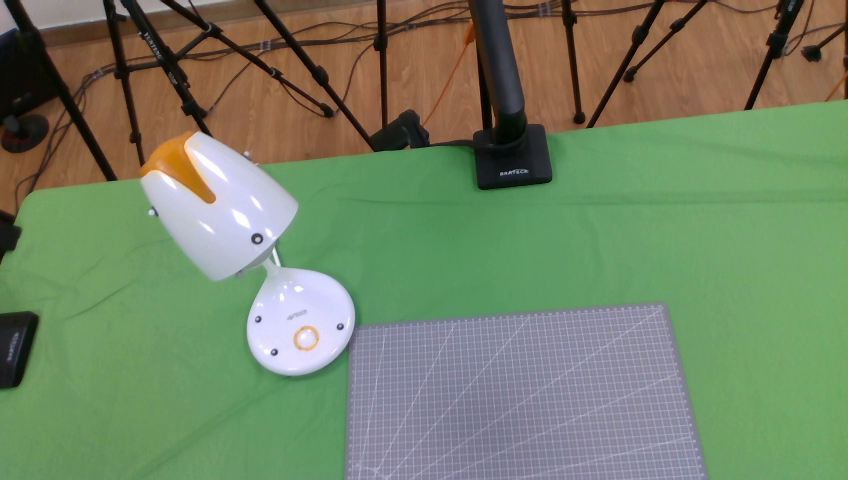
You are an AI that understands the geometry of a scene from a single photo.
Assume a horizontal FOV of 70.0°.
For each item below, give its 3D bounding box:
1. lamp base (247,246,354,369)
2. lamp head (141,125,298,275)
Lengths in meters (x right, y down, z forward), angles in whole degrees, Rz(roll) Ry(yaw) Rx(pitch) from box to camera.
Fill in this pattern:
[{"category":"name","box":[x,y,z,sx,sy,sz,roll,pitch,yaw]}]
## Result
[{"category":"lamp base","box":[-0.198,0.066,0.827,0.160,0.182,0.177,-32,59,-9]},{"category":"lamp head","box":[-0.198,-0.046,0.566,0.112,0.124,0.111,-34,22,16]}]
